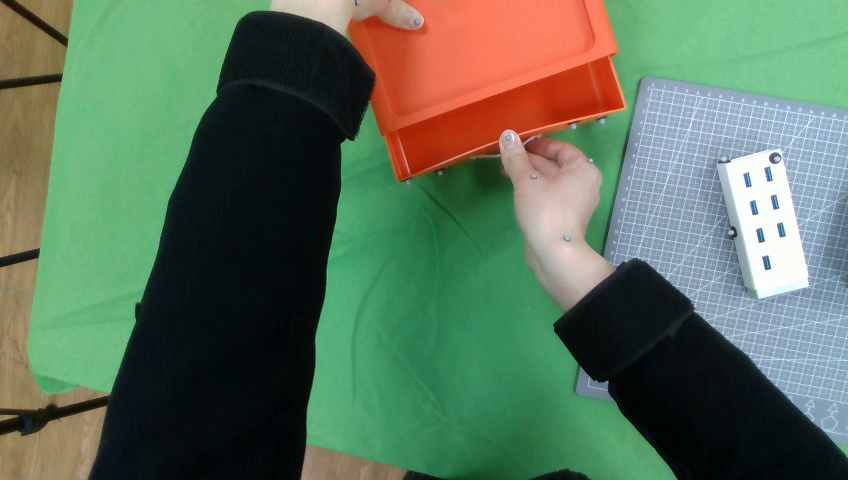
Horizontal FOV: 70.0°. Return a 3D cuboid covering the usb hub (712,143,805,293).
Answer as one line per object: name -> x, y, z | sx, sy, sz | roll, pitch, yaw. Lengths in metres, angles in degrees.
usb hub -> 0.298, -0.019, 0.538 | 0.049, 0.025, 0.125 | -16, 97, 5

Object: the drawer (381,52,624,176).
drawer -> 0.039, -0.180, 0.512 | 0.194, 0.073, 0.212 | -17, 94, 7

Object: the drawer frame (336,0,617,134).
drawer frame -> 0.026, -0.219, 0.503 | 0.201, 0.082, 0.214 | -18, 95, 7
